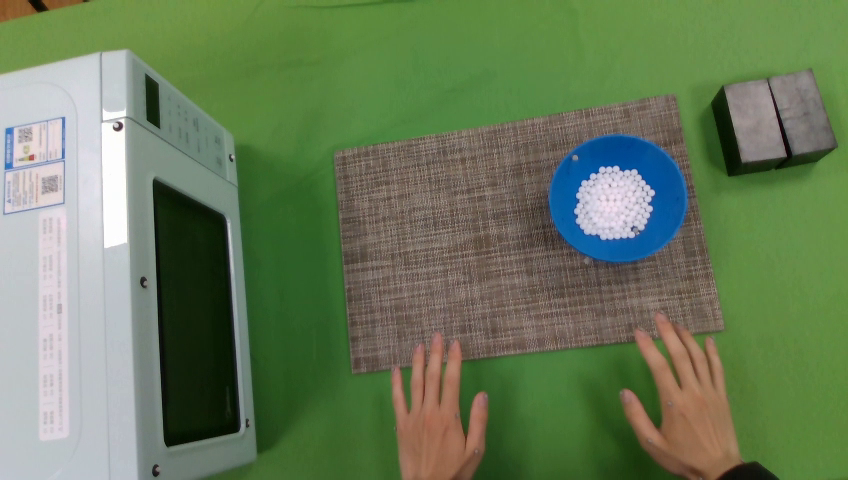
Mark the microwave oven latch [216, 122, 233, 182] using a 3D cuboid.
[{"bbox_3d":[-0.276,-0.117,0.811,0.030,0.029,0.079,-10,79,6],"label":"microwave oven latch"}]

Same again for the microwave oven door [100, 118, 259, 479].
[{"bbox_3d":[-0.263,0.075,0.668,0.039,0.245,0.354,-10,78,7],"label":"microwave oven door"}]

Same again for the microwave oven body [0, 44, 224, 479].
[{"bbox_3d":[-0.411,0.060,0.699,0.326,0.261,0.439,-10,78,6],"label":"microwave oven body"}]

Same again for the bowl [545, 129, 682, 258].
[{"bbox_3d":[0.218,-0.047,0.716,0.151,0.077,0.150,-2,79,9],"label":"bowl"}]
